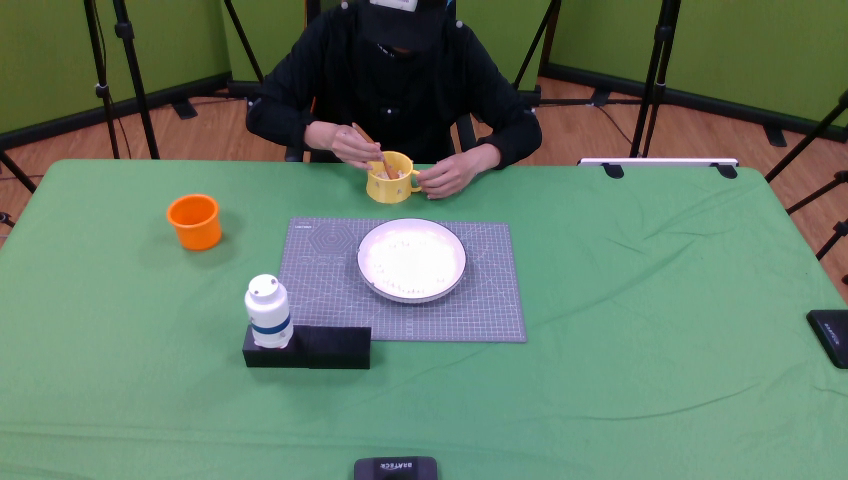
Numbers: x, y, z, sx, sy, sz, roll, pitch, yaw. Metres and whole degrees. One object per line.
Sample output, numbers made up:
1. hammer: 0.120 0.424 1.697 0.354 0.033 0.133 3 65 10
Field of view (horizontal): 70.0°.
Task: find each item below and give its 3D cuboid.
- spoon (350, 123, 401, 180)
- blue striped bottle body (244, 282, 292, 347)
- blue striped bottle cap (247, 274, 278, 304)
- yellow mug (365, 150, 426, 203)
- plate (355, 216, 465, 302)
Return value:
1. spoon: -0.093 -0.175 1.242 0.021 0.195 0.041 -23 45 15
2. blue striped bottle body: -0.241 0.108 0.937 0.063 0.121 0.062 2 46 -2
3. blue striped bottle cap: -0.239 0.072 0.900 0.044 0.021 0.044 4 46 -4
4. yellow mug: -0.061 -0.133 1.291 0.131 0.064 0.099 9 47 3
5. plate: -0.027 0.039 1.144 0.208 0.039 0.206 2 46 -2
